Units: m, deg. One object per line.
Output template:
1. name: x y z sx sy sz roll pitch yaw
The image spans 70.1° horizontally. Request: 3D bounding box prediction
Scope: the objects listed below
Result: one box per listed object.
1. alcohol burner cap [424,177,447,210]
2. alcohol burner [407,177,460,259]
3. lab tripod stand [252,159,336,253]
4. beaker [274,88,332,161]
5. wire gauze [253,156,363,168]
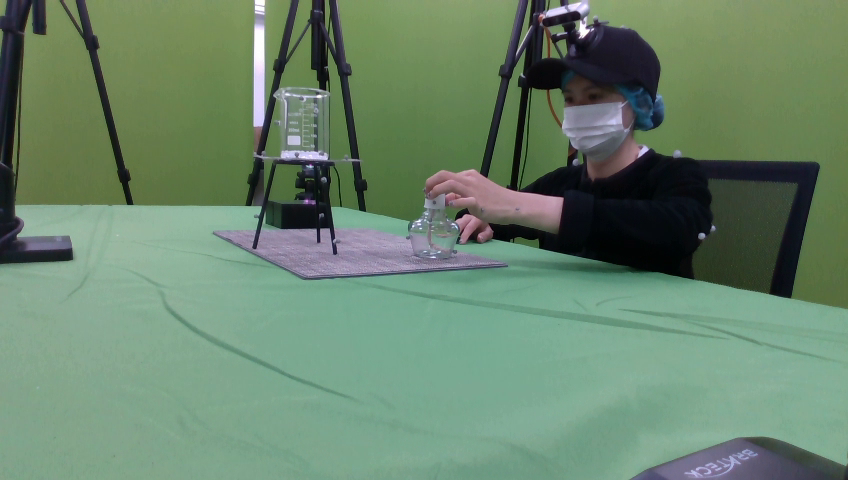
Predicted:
1. alcohol burner cap: 0.018 -0.067 0.876 0.034 0.048 0.034 3 10 0
2. alcohol burner: 0.015 -0.032 0.882 0.078 0.119 0.078 2 5 0
3. lab tripod stand: -0.180 -0.053 0.900 0.148 0.131 0.148 1 6 0
4. beaker: -0.177 -0.165 0.879 0.084 0.100 0.074 2 5 1
5. wire gauze: -0.172 -0.117 0.891 0.122 0.011 0.124 0 3 -38
